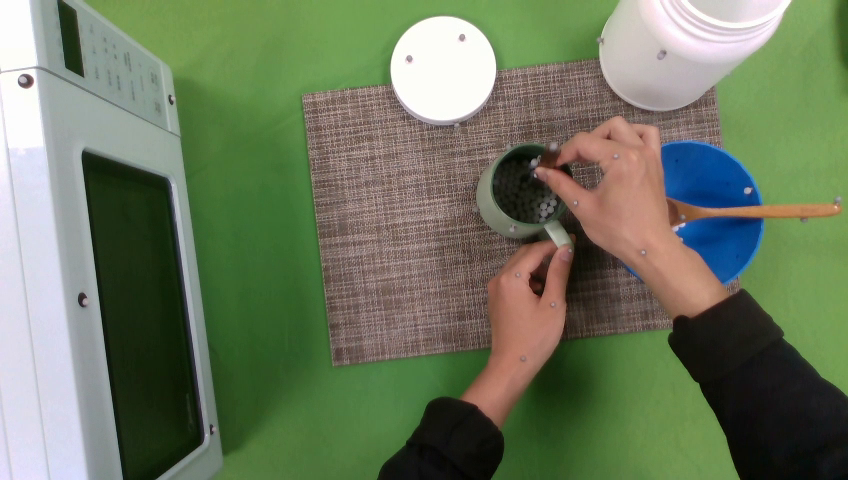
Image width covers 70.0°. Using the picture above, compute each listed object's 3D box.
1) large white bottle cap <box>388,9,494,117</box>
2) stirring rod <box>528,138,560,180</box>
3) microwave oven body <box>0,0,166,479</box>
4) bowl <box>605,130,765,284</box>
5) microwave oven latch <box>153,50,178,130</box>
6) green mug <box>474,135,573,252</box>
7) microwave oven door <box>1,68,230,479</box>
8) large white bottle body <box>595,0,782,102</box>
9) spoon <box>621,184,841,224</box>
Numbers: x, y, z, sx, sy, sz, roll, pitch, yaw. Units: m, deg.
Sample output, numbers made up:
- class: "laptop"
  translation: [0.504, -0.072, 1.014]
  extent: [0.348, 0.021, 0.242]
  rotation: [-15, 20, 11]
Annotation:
- class: "large white bottle cap"
  translation: [0.018, -0.191, 0.655]
  extent: [0.115, 0.018, 0.114]
  rotation: [0, 88, 0]
- class: "stirring rod"
  translation: [0.109, -0.072, 0.559]
  extent: [0.014, 0.176, 0.006]
  rotation: [15, 89, 6]
- class: "microwave oven body"
  translation: [-0.403, 0.040, 0.537]
  extent: [0.326, 0.260, 0.441]
  rotation: [-9, 90, 0]
- class: "bowl"
  translation: [0.252, -0.031, 0.621]
  extent: [0.151, 0.077, 0.151]
  rotation: [0, 89, 1]
- class: "microwave oven latch"
  translation: [-0.280, -0.155, 0.634]
  extent: [0.030, 0.029, 0.079]
  rotation: [-9, 90, 0]
- class: "green mug"
  translation: [0.108, -0.043, 0.610]
  extent: [0.092, 0.105, 0.125]
  rotation: [-34, 89, 0]
- class: "microwave oven door"
  translation: [-0.252, 0.059, 0.530]
  extent: [0.039, 0.244, 0.355]
  rotation: [-9, 89, 1]
- class: "large white bottle body"
  translation: [0.247, -0.220, 0.570]
  extent: [0.130, 0.185, 0.130]
  rotation: [0, 85, 1]
- class: "spoon"
  translation: [0.295, -0.037, 0.592]
  extent: [0.193, 0.022, 0.041]
  rotation: [0, 93, 24]
